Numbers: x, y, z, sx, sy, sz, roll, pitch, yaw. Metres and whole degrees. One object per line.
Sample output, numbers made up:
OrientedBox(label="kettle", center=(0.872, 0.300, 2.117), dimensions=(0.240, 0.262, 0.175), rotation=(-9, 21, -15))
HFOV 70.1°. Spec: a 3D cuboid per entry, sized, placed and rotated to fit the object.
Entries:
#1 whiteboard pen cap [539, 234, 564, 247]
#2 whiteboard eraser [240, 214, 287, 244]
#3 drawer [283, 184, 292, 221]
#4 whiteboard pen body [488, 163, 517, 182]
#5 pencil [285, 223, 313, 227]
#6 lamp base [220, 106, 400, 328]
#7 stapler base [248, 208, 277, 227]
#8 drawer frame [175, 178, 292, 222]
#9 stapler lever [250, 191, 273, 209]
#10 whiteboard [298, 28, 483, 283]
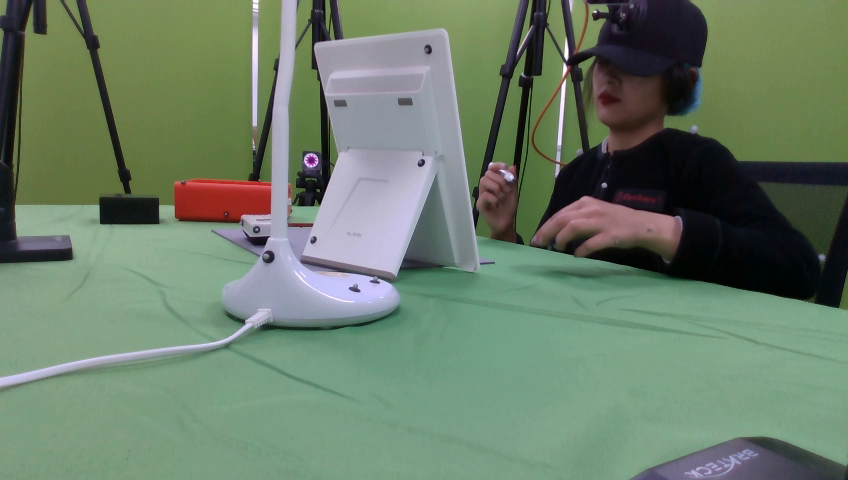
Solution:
OrientedBox(label="whiteboard pen cap", center=(0.173, 0.000, 0.824), dimensions=(0.018, 0.018, 0.033), rotation=(-3, 1, -34))
OrientedBox(label="whiteboard eraser", center=(-0.256, -0.018, 0.958), dimensions=(0.056, 0.042, 0.112), rotation=(0, 8, -25))
OrientedBox(label="drawer", center=(-0.397, -0.086, 1.314), dimensions=(0.212, 0.073, 0.194), rotation=(1, 8, -9))
OrientedBox(label="whiteboard pen body", center=(0.149, -0.126, 1.139), dimensions=(0.017, 0.017, 0.140), rotation=(1, 17, -13))
OrientedBox(label="pencil", center=(-0.234, -0.030, 1.198), dimensions=(0.195, 0.012, 0.012), rotation=(0, 8, -20))
OrientedBox(label="lamp base", center=(-0.101, -0.023, 0.531), dimensions=(0.160, 0.180, 0.179), rotation=(4, 10, 10))
OrientedBox(label="stapler base", center=(-0.350, -0.053, 1.310), dimensions=(0.041, 0.024, 0.130), rotation=(1, 13, -3))
OrientedBox(label="drawer frame", center=(-0.402, -0.087, 1.311), dimensions=(0.214, 0.082, 0.201), rotation=(1, 8, -9))
OrientedBox(label="stapler lever", center=(-0.351, -0.086, 1.305), dimensions=(0.027, 0.040, 0.118), rotation=(1, 5, -3))
OrientedBox(label="whiteboard", center=(-0.075, -0.082, 0.741), dimensions=(0.216, 0.305, 0.144), rotation=(9, 30, 38))
